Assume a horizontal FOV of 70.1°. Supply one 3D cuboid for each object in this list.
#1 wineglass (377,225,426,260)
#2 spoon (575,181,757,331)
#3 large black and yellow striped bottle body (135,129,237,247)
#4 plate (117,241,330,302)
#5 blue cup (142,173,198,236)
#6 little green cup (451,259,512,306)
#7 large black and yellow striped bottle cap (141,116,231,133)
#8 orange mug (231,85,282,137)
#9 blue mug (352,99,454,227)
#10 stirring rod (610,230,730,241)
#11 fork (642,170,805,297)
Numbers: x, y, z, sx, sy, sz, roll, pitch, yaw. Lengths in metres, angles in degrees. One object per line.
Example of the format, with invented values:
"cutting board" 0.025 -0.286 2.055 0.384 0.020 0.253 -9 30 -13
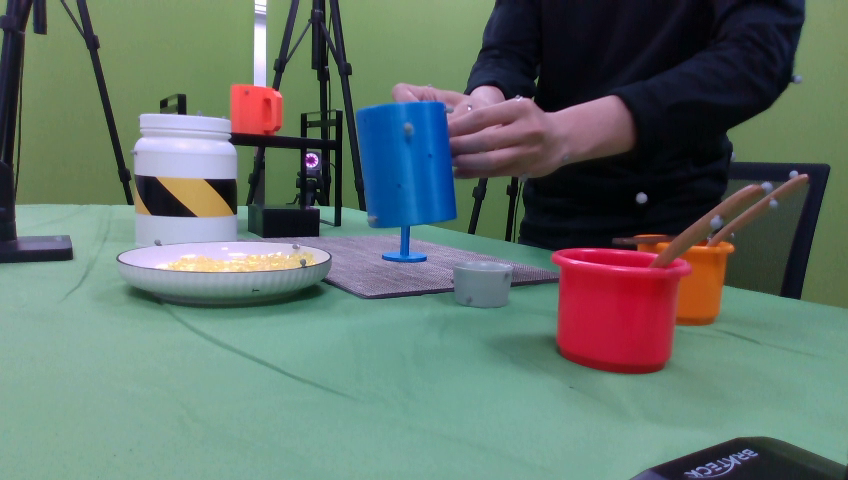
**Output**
"wineglass" -0.026 -0.062 0.841 0.074 0.172 0.073 2 7 0
"spoon" 0.156 0.019 0.412 0.042 0.021 0.193 1 -36 -16
"large black and yellow striped bottle body" -0.327 -0.074 0.838 0.131 0.184 0.130 2 7 0
"plate" -0.203 0.031 0.630 0.209 0.038 0.209 3 7 0
"blue cup" -0.425 -0.060 1.014 0.093 0.100 0.092 4 9 0
"little green cup" 0.057 0.043 0.612 0.061 0.038 0.061 3 7 0
"large black and yellow striped bottle cap" -0.324 -0.157 0.826 0.115 0.019 0.115 1 7 0
"orange mug" -0.335 -0.261 1.225 0.125 0.100 0.084 2 6 35
"blue mug" -0.011 -0.071 0.565 0.082 0.106 0.117 -2 7 28
"stirring rod" 0.241 -0.005 0.582 0.177 0.006 0.014 -3 10 -34
"fork" 0.261 0.003 0.545 0.028 0.018 0.207 5 -37 -16
